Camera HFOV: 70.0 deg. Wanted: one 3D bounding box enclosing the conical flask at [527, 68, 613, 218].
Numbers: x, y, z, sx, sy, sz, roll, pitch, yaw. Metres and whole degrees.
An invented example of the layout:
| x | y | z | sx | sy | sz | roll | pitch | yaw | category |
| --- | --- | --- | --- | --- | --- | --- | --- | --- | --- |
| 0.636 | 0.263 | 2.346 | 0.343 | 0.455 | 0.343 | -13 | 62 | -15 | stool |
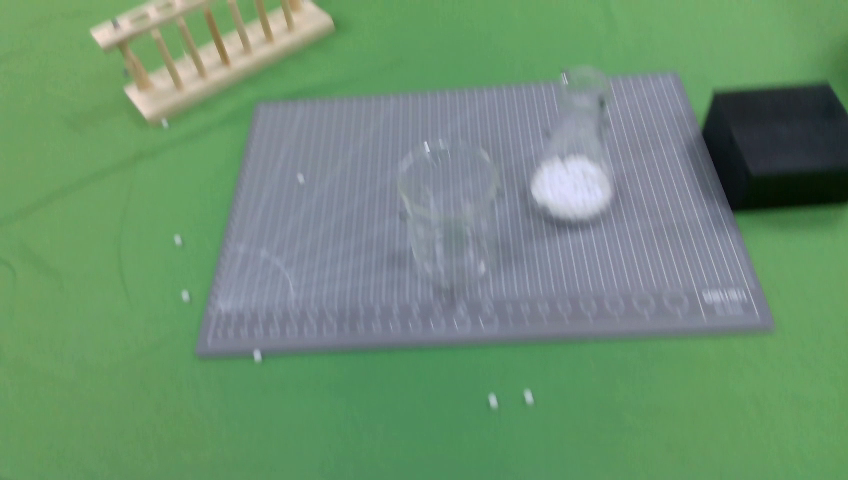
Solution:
| x | y | z | sx | sy | sz | roll | pitch | yaw | category |
| --- | --- | --- | --- | --- | --- | --- | --- | --- | --- |
| 0.125 | -0.081 | 0.499 | 0.075 | 0.123 | 0.074 | -3 | 53 | 4 | conical flask |

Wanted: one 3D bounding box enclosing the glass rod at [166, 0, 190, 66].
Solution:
| x | y | z | sx | sy | sz | roll | pitch | yaw | category |
| --- | --- | --- | --- | --- | --- | --- | --- | --- | --- |
| -0.269 | -0.269 | 0.622 | 0.008 | 0.201 | 0.008 | 1 | 46 | -1 | glass rod |

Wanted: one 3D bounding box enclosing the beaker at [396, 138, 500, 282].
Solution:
| x | y | z | sx | sy | sz | roll | pitch | yaw | category |
| --- | --- | --- | --- | --- | --- | --- | --- | --- | --- |
| 0.019 | -0.021 | 0.480 | 0.074 | 0.101 | 0.083 | -23 | 54 | -11 | beaker |

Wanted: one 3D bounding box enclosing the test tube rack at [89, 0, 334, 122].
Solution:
| x | y | z | sx | sy | sz | roll | pitch | yaw | category |
| --- | --- | --- | --- | --- | --- | --- | --- | --- | --- |
| -0.227 | -0.237 | 0.677 | 0.242 | 0.086 | 0.066 | -35 | 58 | -19 | test tube rack |
